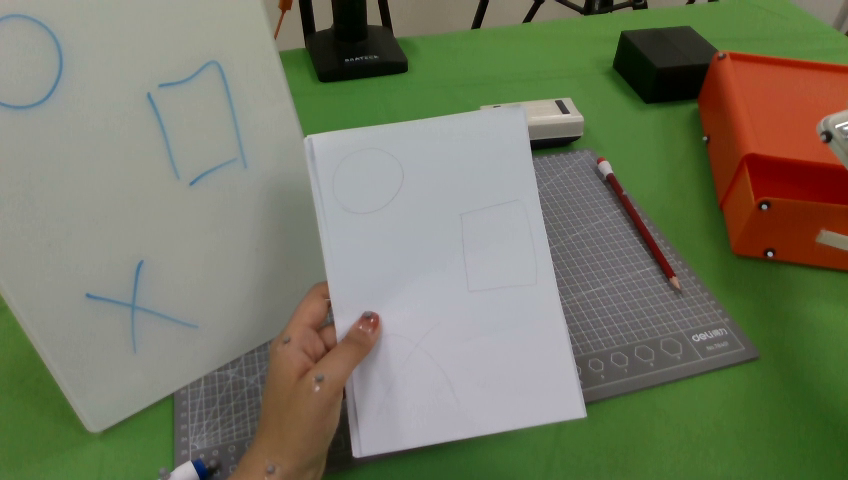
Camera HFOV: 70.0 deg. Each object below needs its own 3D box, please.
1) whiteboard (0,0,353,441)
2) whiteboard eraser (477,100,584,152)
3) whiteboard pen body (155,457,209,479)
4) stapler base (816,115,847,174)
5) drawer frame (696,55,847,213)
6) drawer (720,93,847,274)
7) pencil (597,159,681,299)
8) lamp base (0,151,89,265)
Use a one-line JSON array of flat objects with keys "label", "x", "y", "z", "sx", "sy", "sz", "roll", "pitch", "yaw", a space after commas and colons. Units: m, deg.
[{"label": "whiteboard", "x": -0.213, "y": -0.055, "z": 0.451, "sx": 0.217, "sy": 0.308, "sz": 0.142, "roll": -27, "pitch": 32, "yaw": -26}, {"label": "whiteboard eraser", "x": 0.120, "y": -0.129, "z": 0.690, "sx": 0.113, "sy": 0.042, "sz": 0.055, "roll": -6, "pitch": 45, "yaw": -8}, {"label": "whiteboard pen body", "x": -0.202, "y": 0.177, "z": 0.372, "sx": 0.141, "sy": 0.017, "sz": 0.017, "roll": -25, "pitch": 50, "yaw": -27}, {"label": "stapler base", "x": 0.356, "y": -0.052, "z": 0.462, "sx": 0.041, "sy": 0.024, "sz": 0.129, "roll": -17, "pitch": 59, "yaw": 0}, {"label": "drawer frame", "x": 0.414, "y": -0.106, "z": 0.649, "sx": 0.201, "sy": 0.083, "sz": 0.212, "roll": 8, "pitch": 44, "yaw": 7}, {"label": "drawer", "x": 0.401, "y": -0.062, "z": 0.605, "sx": 0.194, "sy": 0.074, "sz": 0.210, "roll": 8, "pitch": 44, "yaw": 7}, {"label": "pencil", "x": 0.210, "y": -0.017, "z": 0.597, "sx": 0.012, "sy": 0.012, "sz": 0.192, "roll": -6, "pitch": 47, "yaw": -8}, {"label": "lamp base", "x": -0.416, "y": -0.089, "z": 0.525, "sx": 0.178, "sy": 0.182, "sz": 0.160, "roll": 17, "pitch": 46, "yaw": 19}]
